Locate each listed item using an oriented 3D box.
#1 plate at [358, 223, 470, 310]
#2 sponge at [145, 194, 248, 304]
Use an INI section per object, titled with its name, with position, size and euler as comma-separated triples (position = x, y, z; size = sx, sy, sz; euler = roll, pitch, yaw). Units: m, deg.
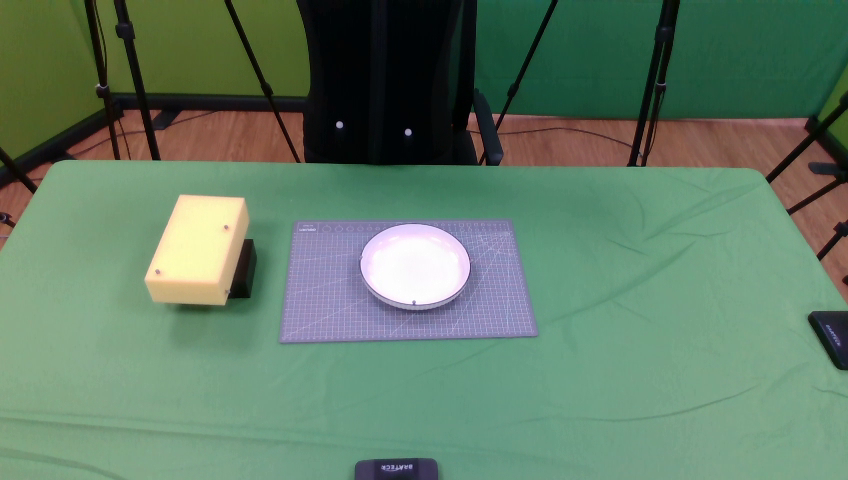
[plate]
position = -0.019, 0.052, 1.132
size = 0.209, 0.038, 0.208
euler = 2, 46, -2
[sponge]
position = -0.391, 0.012, 1.059
size = 0.118, 0.061, 0.205
euler = 2, 46, -3
